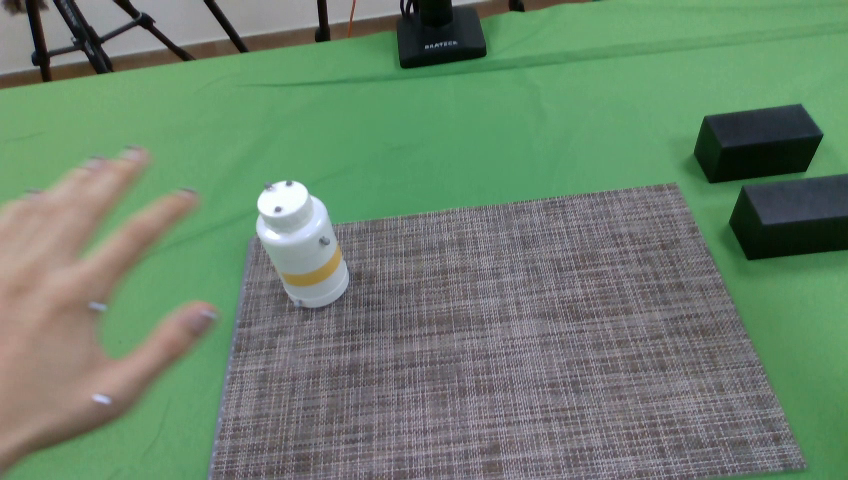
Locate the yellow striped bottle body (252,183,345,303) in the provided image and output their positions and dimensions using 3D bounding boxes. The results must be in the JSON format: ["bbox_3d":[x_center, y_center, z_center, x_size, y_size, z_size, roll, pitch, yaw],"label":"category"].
[{"bbox_3d":[-0.115,0.000,0.552,0.063,0.121,0.062,-4,50,5],"label":"yellow striped bottle body"}]

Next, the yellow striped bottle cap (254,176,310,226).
[{"bbox_3d":[-0.121,-0.034,0.512,0.044,0.019,0.044,-5,49,6],"label":"yellow striped bottle cap"}]
